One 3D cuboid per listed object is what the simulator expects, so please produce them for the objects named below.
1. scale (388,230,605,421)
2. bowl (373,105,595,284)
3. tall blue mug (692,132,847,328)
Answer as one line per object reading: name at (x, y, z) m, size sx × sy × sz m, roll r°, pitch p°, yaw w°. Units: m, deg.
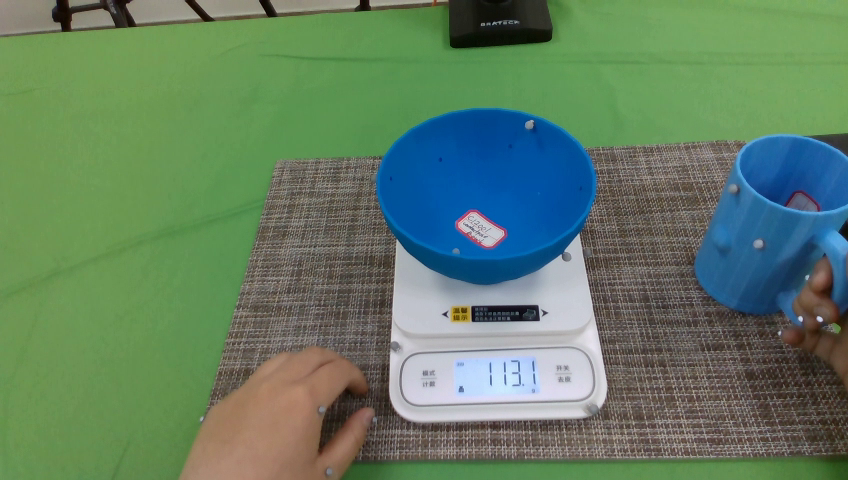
scale at (0.049, 0.037, 0.461) m, size 0.148 × 0.032 × 0.199 m, roll -2°, pitch 50°, yaw 4°
bowl at (0.042, -0.021, 0.440) m, size 0.151 × 0.077 × 0.150 m, roll -2°, pitch 50°, yaw 3°
tall blue mug at (0.253, -0.001, 0.422) m, size 0.078 × 0.109 × 0.106 m, roll -35°, pitch 55°, yaw -23°
